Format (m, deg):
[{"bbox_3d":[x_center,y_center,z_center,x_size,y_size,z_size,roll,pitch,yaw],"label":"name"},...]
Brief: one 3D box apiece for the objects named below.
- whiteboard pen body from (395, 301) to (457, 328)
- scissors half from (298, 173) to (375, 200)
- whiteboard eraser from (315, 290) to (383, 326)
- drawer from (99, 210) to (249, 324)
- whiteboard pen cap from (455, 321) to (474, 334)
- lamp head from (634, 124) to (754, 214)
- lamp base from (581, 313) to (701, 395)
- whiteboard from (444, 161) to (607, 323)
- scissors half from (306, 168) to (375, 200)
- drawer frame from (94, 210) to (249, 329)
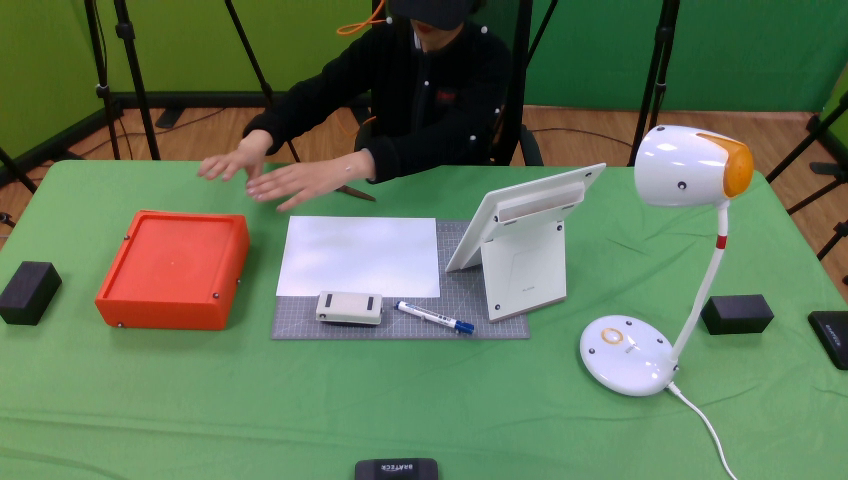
[{"bbox_3d":[0.015,0.134,1.064,0.140,0.017,0.017,17,47,16],"label":"whiteboard pen body"},{"bbox_3d":[-0.188,-0.111,1.295,0.175,0.013,0.040,16,37,5],"label":"scissors half"},{"bbox_3d":[-0.130,0.120,1.054,0.113,0.042,0.055,4,47,0],"label":"whiteboard eraser"},{"bbox_3d":[-0.435,0.044,1.082,0.194,0.073,0.210,3,47,-2],"label":"drawer"},{"bbox_3d":[0.069,0.151,1.046,0.033,0.018,0.018,14,47,16],"label":"whiteboard pen cap"},{"bbox_3d":[0.351,-0.089,0.775,0.112,0.113,0.122,-30,30,-28],"label":"lamp head"},{"bbox_3d":[0.361,0.144,0.972,0.178,0.181,0.160,34,53,23],"label":"lamp base"},{"bbox_3d":[0.186,0.025,1.029,0.217,0.306,0.143,-14,68,-18],"label":"whiteboard"},{"bbox_3d":[-0.180,-0.120,1.311,0.174,0.013,0.040,26,34,18],"label":"scissors half"},{"bbox_3d":[-0.435,0.048,1.076,0.202,0.083,0.212,2,47,-3],"label":"drawer frame"}]
